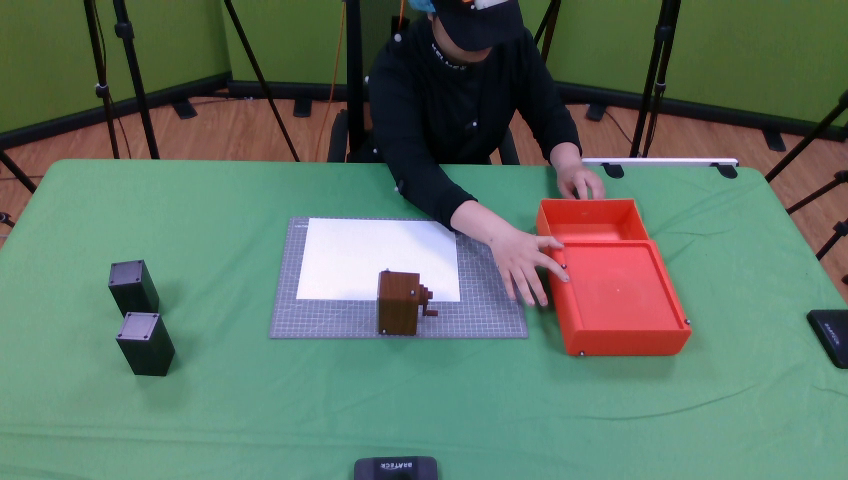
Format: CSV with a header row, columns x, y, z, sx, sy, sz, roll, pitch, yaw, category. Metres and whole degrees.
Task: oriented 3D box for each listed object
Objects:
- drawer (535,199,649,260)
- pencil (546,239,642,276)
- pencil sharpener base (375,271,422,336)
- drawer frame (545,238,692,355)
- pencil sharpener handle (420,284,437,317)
x,y,z,sx,sy,sz,roll,pitch,yaw,category
0.332,0.015,1.169,0.195,0.073,0.210,0,46,-5,drawer
0.332,0.035,1.188,0.193,0.012,0.012,20,48,13,pencil
-0.042,0.109,1.025,0.077,0.107,0.061,3,45,-2,pencil sharpener base
0.338,0.097,1.086,0.202,0.083,0.212,0,46,-4,drawer frame
0.009,0.104,1.016,0.030,0.068,0.036,3,38,-2,pencil sharpener handle
